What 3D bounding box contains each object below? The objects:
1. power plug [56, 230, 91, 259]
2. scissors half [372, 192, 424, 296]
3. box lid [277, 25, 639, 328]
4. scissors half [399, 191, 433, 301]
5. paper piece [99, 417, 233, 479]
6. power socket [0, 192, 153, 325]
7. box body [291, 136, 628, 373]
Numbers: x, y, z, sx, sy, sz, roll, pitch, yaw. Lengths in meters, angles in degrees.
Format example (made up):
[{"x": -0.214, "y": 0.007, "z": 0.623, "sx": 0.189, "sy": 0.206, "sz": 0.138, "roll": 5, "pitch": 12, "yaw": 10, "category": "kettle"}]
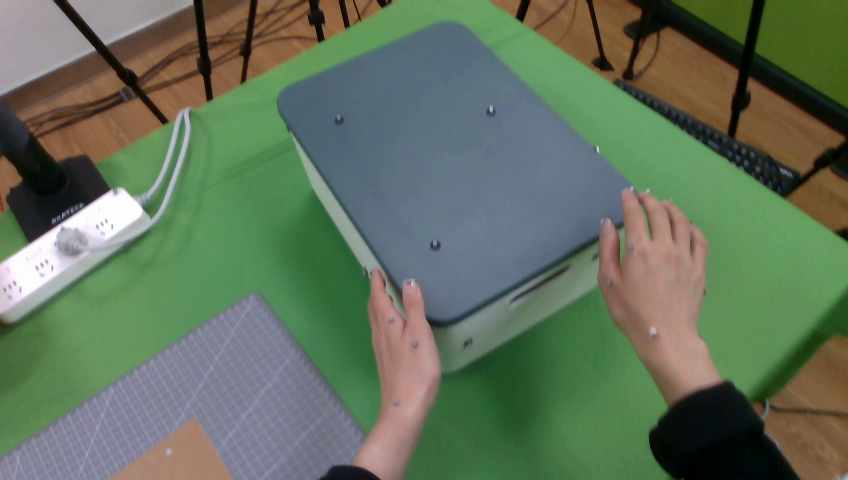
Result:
[{"x": -0.428, "y": 0.017, "z": 0.746, "sx": 0.035, "sy": 0.053, "sz": 0.072, "roll": -31, "pitch": 60, "yaw": -18, "category": "power plug"}, {"x": -0.027, "y": -0.001, "z": 0.770, "sx": 0.040, "sy": 0.013, "sz": 0.174, "roll": 17, "pitch": 52, "yaw": 8, "category": "scissors half"}, {"x": 0.023, "y": -0.095, "z": 0.660, "sx": 0.263, "sy": 0.015, "sz": 0.367, "roll": -28, "pitch": 59, "yaw": -15, "category": "box lid"}, {"x": -0.007, "y": 0.003, "z": 0.769, "sx": 0.040, "sy": 0.013, "sz": 0.173, "roll": 7, "pitch": 53, "yaw": -6, "category": "scissors half"}, {"x": -0.260, "y": 0.268, "z": 0.608, "sx": 0.135, "sy": 0.004, "sz": 0.134, "roll": -33, "pitch": 60, "yaw": -18, "category": "paper piece"}, {"x": -0.454, "y": 0.019, "z": 0.774, "sx": 0.071, "sy": 0.033, "sz": 0.226, "roll": 39, "pitch": 66, "yaw": 24, "category": "power socket"}, {"x": 0.026, "y": -0.055, "z": 0.721, "sx": 0.254, "sy": 0.162, "sz": 0.360, "roll": -28, "pitch": 59, "yaw": -15, "category": "box body"}]
